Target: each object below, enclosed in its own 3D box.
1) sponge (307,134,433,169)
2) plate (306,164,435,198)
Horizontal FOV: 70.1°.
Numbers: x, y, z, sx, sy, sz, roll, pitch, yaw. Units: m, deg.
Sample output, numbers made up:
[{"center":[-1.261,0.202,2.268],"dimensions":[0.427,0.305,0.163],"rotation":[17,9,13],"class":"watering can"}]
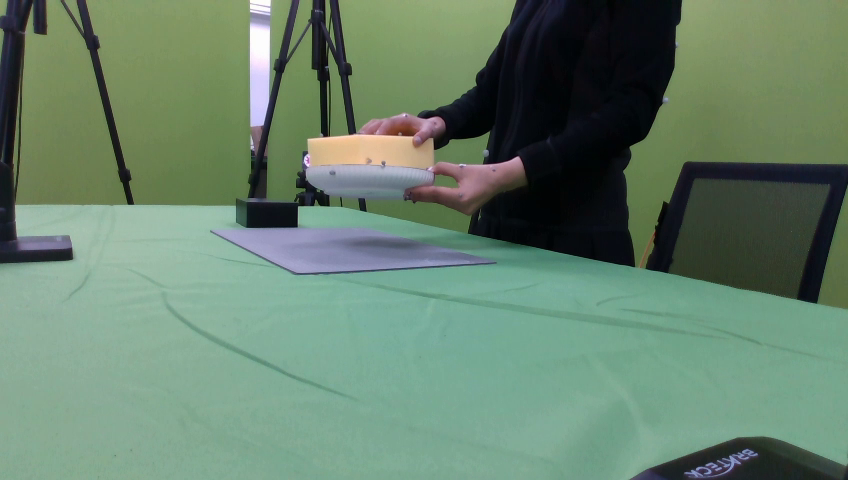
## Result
[{"center":[-0.089,-0.150,1.057],"dimensions":[0.117,0.061,0.208],"rotation":[2,8,35],"class":"sponge"},{"center":[-0.085,-0.092,0.975],"dimensions":[0.209,0.038,0.209],"rotation":[1,-1,0],"class":"plate"}]
